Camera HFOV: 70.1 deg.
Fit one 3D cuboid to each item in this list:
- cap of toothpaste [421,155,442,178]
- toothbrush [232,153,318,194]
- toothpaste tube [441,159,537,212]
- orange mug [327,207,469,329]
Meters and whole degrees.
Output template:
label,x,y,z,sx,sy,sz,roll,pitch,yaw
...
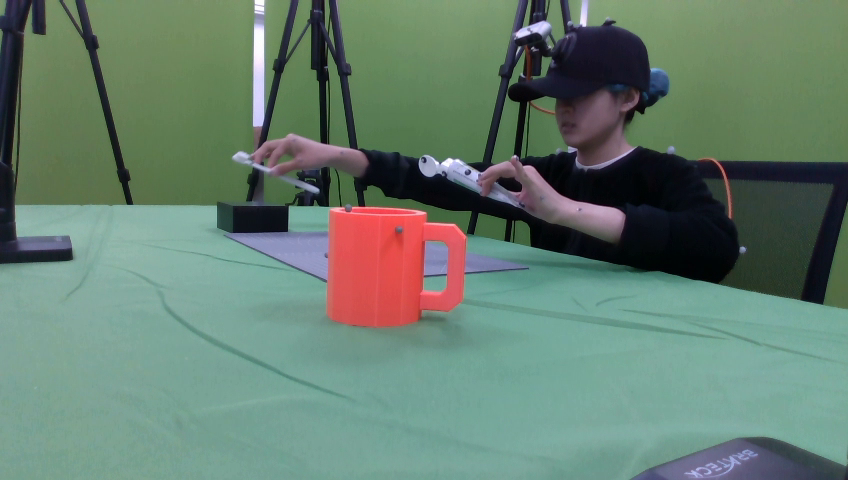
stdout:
label,x,y,z,sx,sy,sz,roll,pitch,yaw
cap of toothpaste,0.012,-0.114,0.931,0.037,0.037,0.011,8,30,36
toothbrush,-0.266,-0.120,1.103,0.183,0.016,0.014,23,29,-44
toothpaste tube,0.090,-0.080,0.897,0.164,0.034,0.055,32,19,30
orange mug,-0.024,0.021,0.535,0.126,0.100,0.083,-1,6,8
